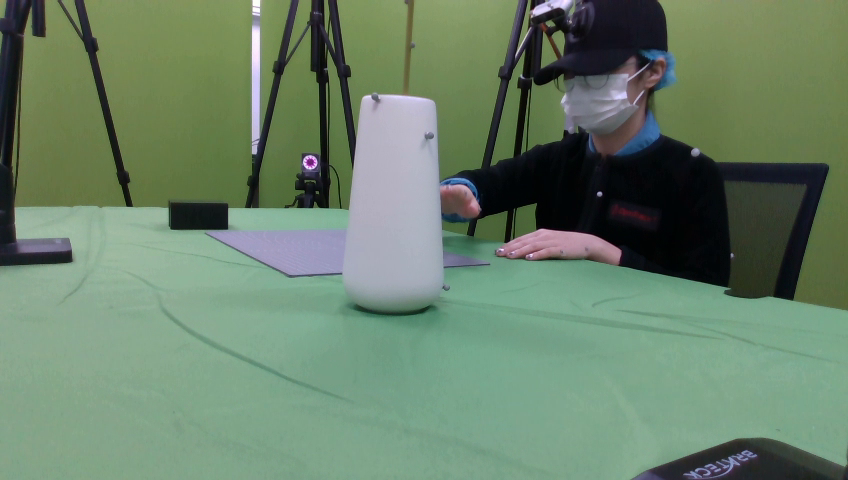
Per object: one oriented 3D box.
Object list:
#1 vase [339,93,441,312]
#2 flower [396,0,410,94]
[{"bbox_3d":[-0.032,-0.036,0.577,0.098,0.200,0.098,1,7,0],"label":"vase"},{"bbox_3d":[-0.023,-0.113,0.546,0.044,0.361,0.038,7,25,1],"label":"flower"}]
